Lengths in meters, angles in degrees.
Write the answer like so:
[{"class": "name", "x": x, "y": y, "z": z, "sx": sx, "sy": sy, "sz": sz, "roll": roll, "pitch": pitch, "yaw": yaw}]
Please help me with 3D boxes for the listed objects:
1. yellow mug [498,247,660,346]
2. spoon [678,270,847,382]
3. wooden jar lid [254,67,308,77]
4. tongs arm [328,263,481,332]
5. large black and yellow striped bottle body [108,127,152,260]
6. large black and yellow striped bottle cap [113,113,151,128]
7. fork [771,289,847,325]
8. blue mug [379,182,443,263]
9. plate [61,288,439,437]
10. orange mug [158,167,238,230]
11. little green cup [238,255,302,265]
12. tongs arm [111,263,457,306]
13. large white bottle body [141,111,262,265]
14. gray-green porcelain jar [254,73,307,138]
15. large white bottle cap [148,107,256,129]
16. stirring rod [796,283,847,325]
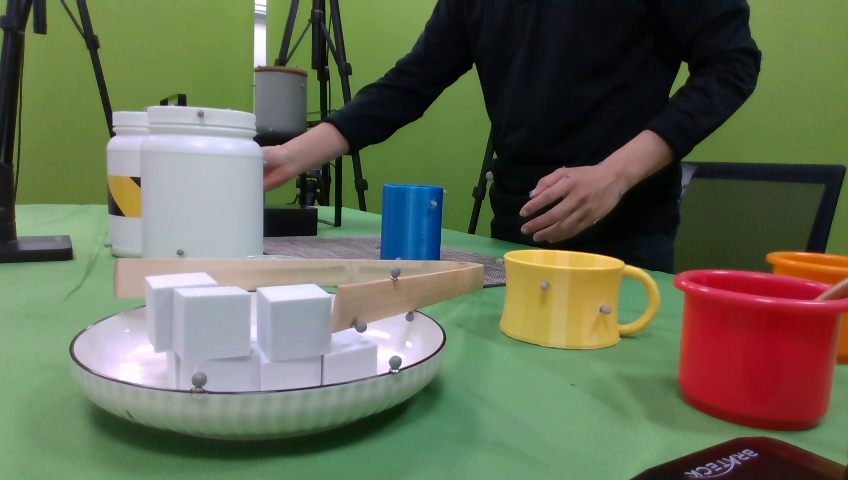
[{"class": "yellow mug", "x": 0.130, "y": 0.045, "z": 0.508, "sx": 0.131, "sy": 0.064, "sz": 0.100, "roll": 4, "pitch": 7, "yaw": 6}, {"class": "spoon", "x": 0.229, "y": 0.031, "z": 0.338, "sx": 0.193, "sy": 0.021, "sz": 0.042, "roll": -44, "pitch": -17, "yaw": 27}, {"class": "wooden jar lid", "x": -0.296, "y": -0.339, "z": 1.251, "sx": 0.108, "sy": 0.020, "sz": 0.108, "roll": 2, "pitch": 7, "yaw": 0}, {"class": "tongs arm", "x": -0.003, "y": 0.036, "z": 0.493, "sx": 0.050, "sy": 0.026, "sz": 0.386, "roll": 0, "pitch": -1, "yaw": 19}, {"class": "large black and yellow striped bottle body", "x": -0.350, "y": -0.071, "z": 0.812, "sx": 0.131, "sy": 0.184, "sz": 0.130, "roll": 2, "pitch": 7, "yaw": 0}, {"class": "large black and yellow striped bottle cap", "x": -0.348, "y": -0.154, "z": 0.800, "sx": 0.115, "sy": 0.019, "sz": 0.115, "roll": 2, "pitch": 6, "yaw": 0}, {"class": "fork", "x": 0.335, "y": 0.018, "z": 0.443, "sx": 0.028, "sy": 0.018, "sz": 0.207, "roll": -1, "pitch": -36, "yaw": -20}, {"class": "blue mug", "x": -0.020, "y": -0.026, "z": 0.833, "sx": 0.082, "sy": 0.106, "sz": 0.116, "roll": 1, "pitch": 7, "yaw": -7}, {"class": "plate", "x": -0.095, "y": 0.069, "z": 0.362, "sx": 0.208, "sy": 0.039, "sz": 0.207, "roll": 3, "pitch": 7, "yaw": 0}, {"class": "orange mug", "x": -0.362, "y": -0.070, "z": 0.979, "sx": 0.083, "sy": 0.101, "sz": 0.127, "roll": 3, "pitch": 13, "yaw": 40}, {"class": "little green cup", "x": -0.150, "y": 0.038, "z": 0.590, "sx": 0.061, "sy": 0.038, "sz": 0.061, "roll": 3, "pitch": 6, "yaw": 0}, {"class": "tongs arm", "x": -0.080, "y": 0.033, "z": 0.527, "sx": 0.028, "sy": 0.027, "sz": 0.389, "roll": -4, "pitch": -4, "yaw": 33}, {"class": "large white bottle body", "x": -0.254, "y": -0.053, "z": 0.697, "sx": 0.131, "sy": 0.184, "sz": 0.130, "roll": 2, "pitch": 7, "yaw": 0}, {"class": "gray-green porcelain jar", "x": -0.298, "y": -0.277, "z": 1.259, "sx": 0.106, "sy": 0.126, "sz": 0.106, "roll": 3, "pitch": 7, "yaw": 0}, {"class": "large white bottle cap", "x": -0.250, "y": -0.137, "z": 0.686, "sx": 0.115, "sy": 0.018, "sz": 0.115, "roll": 3, "pitch": 8, "yaw": 0}, {"class": "stirring rod", "x": 0.347, "y": 0.019, "z": 0.460, "sx": 0.014, "sy": 0.176, "sz": 0.006, "roll": -16, "pitch": 59, "yaw": -25}]
